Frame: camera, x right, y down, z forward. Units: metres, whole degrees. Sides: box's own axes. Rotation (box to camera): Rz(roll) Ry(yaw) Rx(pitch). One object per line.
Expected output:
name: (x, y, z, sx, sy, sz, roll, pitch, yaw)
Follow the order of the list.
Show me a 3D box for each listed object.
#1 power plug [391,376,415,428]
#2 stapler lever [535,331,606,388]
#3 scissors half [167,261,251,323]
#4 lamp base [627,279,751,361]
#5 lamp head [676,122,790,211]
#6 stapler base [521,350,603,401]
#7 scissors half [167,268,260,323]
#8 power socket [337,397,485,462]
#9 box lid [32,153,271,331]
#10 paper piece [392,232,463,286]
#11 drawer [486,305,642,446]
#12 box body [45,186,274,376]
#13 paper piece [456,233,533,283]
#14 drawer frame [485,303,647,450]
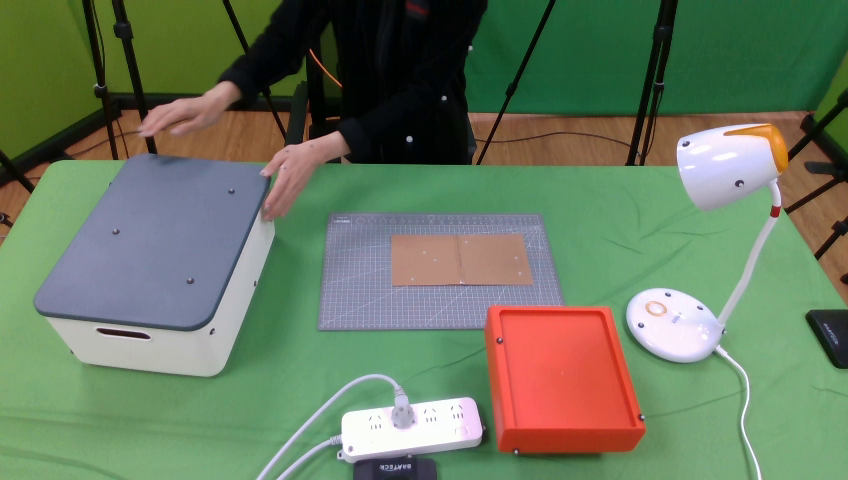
power plug: (-0.031, 0.249, 0.917, 0.035, 0.053, 0.072, 3, 46, -1)
stapler lever: (0.225, 0.181, 0.928, 0.118, 0.040, 0.027, 27, 34, 15)
scissors half: (-0.383, 0.091, 1.081, 0.040, 0.013, 0.175, 23, 51, 33)
lamp base: (0.460, 0.100, 1.027, 0.178, 0.181, 0.160, 27, 51, 17)
lamp head: (0.423, -0.104, 0.819, 0.122, 0.113, 0.112, -13, 33, 40)
stapler base: (0.217, 0.203, 0.942, 0.130, 0.024, 0.041, 26, 33, 16)
scissors half: (-0.369, 0.100, 1.069, 0.175, 0.013, 0.040, -29, 50, -21)
power socket: (-0.018, 0.285, 0.915, 0.227, 0.033, 0.071, -4, 46, -8)
box lid: (-0.417, -0.015, 0.980, 0.263, 0.015, 0.369, 6, 46, 1)
paper piece: (0.005, 0.035, 1.170, 0.135, 0.004, 0.135, 2, 46, -3)
drawer: (0.202, 0.200, 0.919, 0.195, 0.073, 0.210, 2, 47, -4)
box body: (-0.421, 0.037, 1.031, 0.254, 0.161, 0.362, 5, 46, 1)
paper piece: (0.136, 0.035, 1.182, 0.136, 0.009, 0.137, 3, 44, -7)
drawer frame: (0.204, 0.202, 0.917, 0.202, 0.083, 0.212, 1, 47, -4)
